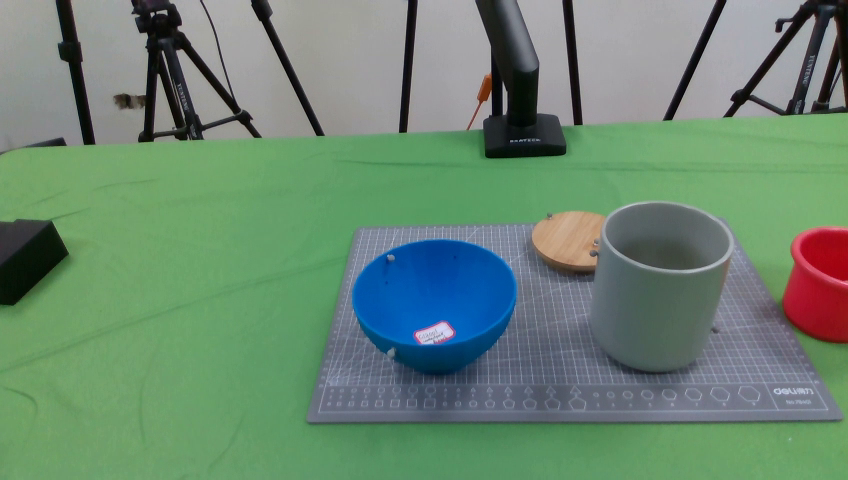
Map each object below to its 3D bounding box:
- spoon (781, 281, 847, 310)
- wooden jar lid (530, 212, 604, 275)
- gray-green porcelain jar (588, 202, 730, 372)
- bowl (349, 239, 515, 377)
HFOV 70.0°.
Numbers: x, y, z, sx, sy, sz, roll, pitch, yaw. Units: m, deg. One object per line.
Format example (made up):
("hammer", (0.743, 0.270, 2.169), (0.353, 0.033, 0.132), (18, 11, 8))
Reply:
("spoon", (0.415, 0.030, 0.532), (0.041, 0.193, 0.021), (-38, 93, -40))
("wooden jar lid", (0.176, 0.005, 0.695), (0.108, 0.021, 0.107), (-3, 34, 3))
("gray-green porcelain jar", (0.204, 0.046, 0.543), (0.106, 0.127, 0.105), (-3, 36, 3))
("bowl", (0.009, 0.074, 0.567), (0.151, 0.077, 0.150), (-3, 36, 2))
